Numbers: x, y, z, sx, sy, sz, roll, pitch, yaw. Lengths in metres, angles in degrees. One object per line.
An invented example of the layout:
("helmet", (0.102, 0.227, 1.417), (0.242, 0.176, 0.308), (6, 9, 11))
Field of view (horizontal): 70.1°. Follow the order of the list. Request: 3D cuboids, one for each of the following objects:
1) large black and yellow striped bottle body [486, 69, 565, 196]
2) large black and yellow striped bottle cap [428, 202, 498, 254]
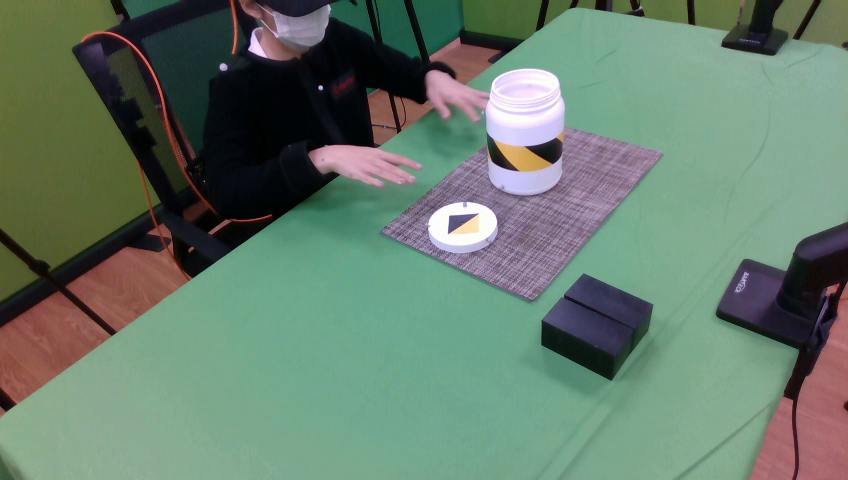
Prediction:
("large black and yellow striped bottle body", (0.173, -0.183, 1.033), (0.131, 0.185, 0.130), (-5, 41, 5))
("large black and yellow striped bottle cap", (0.064, -0.022, 0.990), (0.115, 0.019, 0.114), (-4, 42, 4))
